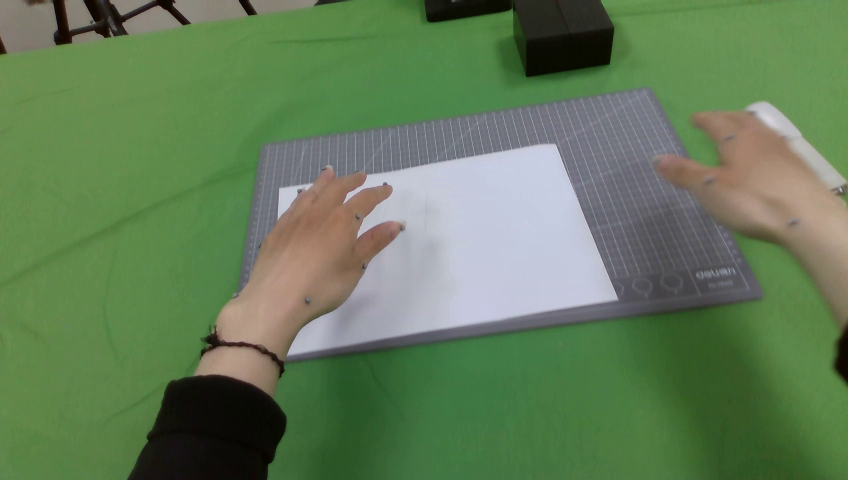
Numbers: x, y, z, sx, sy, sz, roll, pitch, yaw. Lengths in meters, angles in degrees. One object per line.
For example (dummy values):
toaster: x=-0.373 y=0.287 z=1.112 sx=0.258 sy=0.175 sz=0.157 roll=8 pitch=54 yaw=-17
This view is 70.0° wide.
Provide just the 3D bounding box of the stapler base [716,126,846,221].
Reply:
stapler base: x=0.335 y=-0.073 z=0.572 sx=0.041 sy=0.025 sz=0.129 roll=-25 pitch=52 yaw=-8

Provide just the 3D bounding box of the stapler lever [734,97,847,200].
stapler lever: x=0.332 y=-0.087 z=0.552 sx=0.027 sy=0.040 sz=0.116 roll=-25 pitch=51 yaw=-8
